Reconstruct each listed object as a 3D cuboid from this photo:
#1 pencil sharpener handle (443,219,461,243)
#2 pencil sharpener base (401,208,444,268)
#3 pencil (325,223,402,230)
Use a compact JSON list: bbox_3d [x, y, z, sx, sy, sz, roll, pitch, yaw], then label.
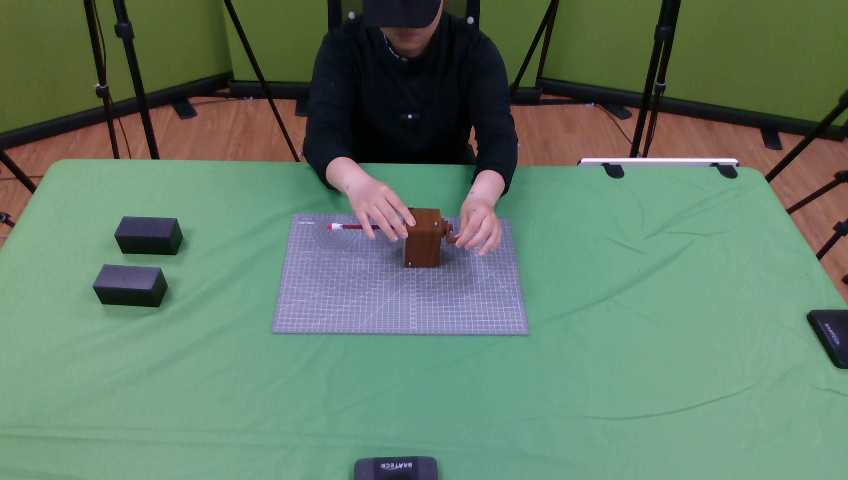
[{"bbox_3d":[0.050,-0.015,1.108,0.031,0.036,0.067,0,30,-5],"label":"pencil sharpener handle"},{"bbox_3d":[-0.004,-0.003,1.137,0.077,0.107,0.061,0,45,-5],"label":"pencil sharpener base"},{"bbox_3d":[-0.084,-0.024,1.111,0.194,0.012,0.012,0,46,-6],"label":"pencil"}]
